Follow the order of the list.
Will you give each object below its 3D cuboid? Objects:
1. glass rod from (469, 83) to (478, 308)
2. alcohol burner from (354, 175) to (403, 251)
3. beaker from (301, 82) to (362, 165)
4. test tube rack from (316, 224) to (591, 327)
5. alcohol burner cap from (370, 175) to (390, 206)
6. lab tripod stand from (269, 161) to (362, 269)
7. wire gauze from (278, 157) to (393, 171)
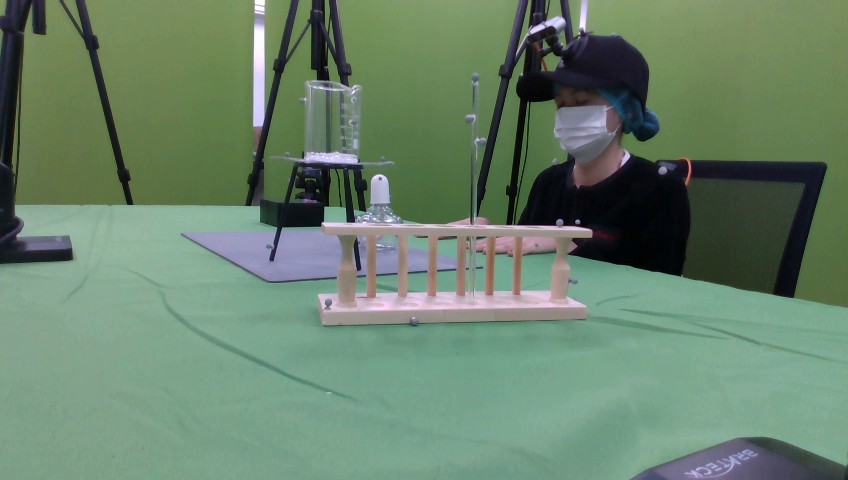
[{"bbox_3d":[0.043,-0.033,0.523,0.008,0.199,0.008,-1,14,1],"label":"glass rod"},{"bbox_3d":[-0.072,-0.042,0.944,0.078,0.119,0.078,1,9,0],"label":"alcohol burner"},{"bbox_3d":[-0.117,-0.147,0.776,0.074,0.100,0.083,-3,10,-38],"label":"beaker"},{"bbox_3d":[0.026,0.028,0.555,0.243,0.085,0.066,1,7,-15],"label":"test tube rack"},{"bbox_3d":[-0.069,-0.077,0.939,0.034,0.048,0.034,-2,6,0],"label":"alcohol burner cap"},{"bbox_3d":[-0.125,-0.036,0.794,0.148,0.131,0.148,5,7,0],"label":"lab tripod stand"},{"bbox_3d":[-0.122,-0.100,0.786,0.122,0.011,0.124,-5,14,-38],"label":"wire gauze"}]
